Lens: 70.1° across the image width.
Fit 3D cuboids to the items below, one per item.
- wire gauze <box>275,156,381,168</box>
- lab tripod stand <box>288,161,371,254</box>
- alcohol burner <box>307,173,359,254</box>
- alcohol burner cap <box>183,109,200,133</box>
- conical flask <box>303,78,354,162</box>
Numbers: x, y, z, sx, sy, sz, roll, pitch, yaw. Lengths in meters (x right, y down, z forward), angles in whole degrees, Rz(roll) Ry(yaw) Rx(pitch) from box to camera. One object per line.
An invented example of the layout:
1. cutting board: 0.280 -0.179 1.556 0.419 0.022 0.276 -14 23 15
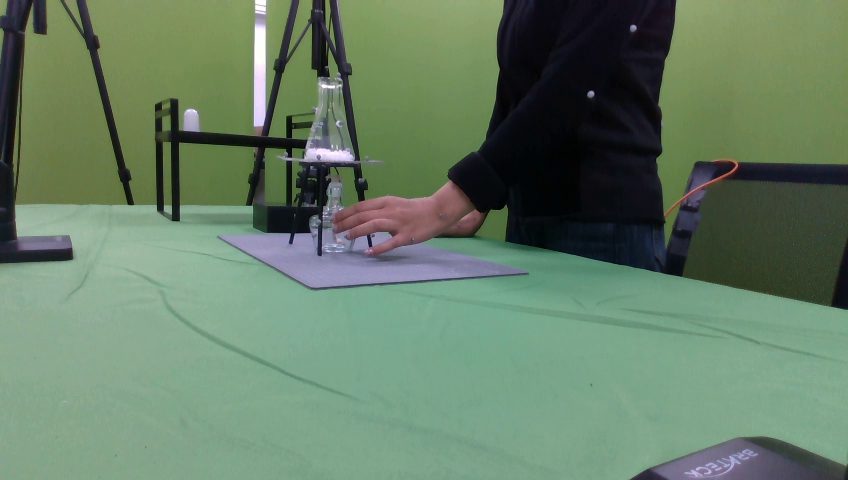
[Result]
1. wire gauze: -0.142 -0.116 0.899 0.122 0.011 0.124 -1 5 -36
2. lab tripod stand: -0.148 -0.052 0.908 0.148 0.131 0.148 1 8 0
3. alcohol burner: -0.135 -0.040 0.901 0.078 0.119 0.078 1 6 0
4. alcohol burner cap: -0.472 -0.241 1.229 0.034 0.048 0.034 3 8 0
5. conical flask: -0.140 -0.175 0.892 0.075 0.122 0.075 2 7 0
